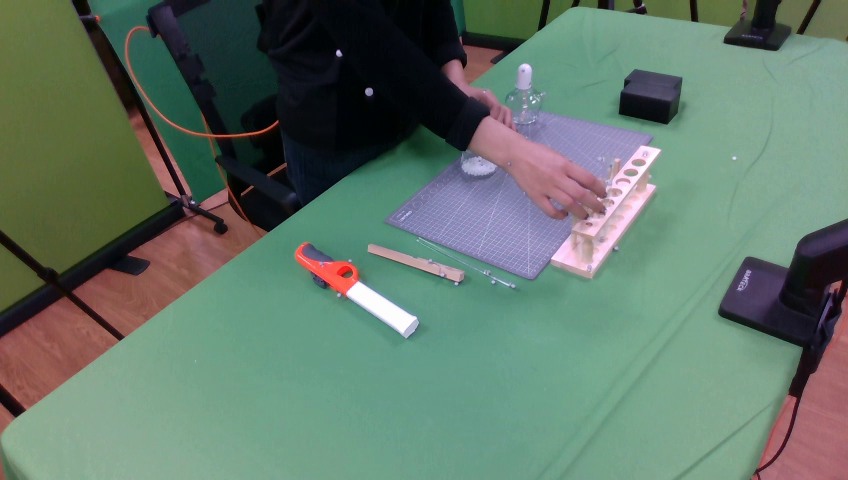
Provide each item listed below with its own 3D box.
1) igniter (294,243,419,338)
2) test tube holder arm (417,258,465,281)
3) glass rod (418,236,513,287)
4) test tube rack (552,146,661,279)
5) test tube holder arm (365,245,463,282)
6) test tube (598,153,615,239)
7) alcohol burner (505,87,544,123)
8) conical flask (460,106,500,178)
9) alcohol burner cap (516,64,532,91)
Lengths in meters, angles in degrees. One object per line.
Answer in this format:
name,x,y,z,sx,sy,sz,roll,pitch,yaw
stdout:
igniter,-0.113,0.070,0.919,0.274,0.025,0.057,29,62,37
test tube holder arm,0.023,0.045,0.931,0.087,0.015,0.010,16,11,29
glass rod,0.060,0.032,0.945,0.198,0.008,0.008,27,52,38
test tube rack,0.287,-0.053,0.943,0.066,0.085,0.243,21,49,32
test tube holder arm,-0.019,0.035,0.947,0.177,0.015,0.013,16,11,27
test tube,0.265,-0.060,0.877,0.017,0.151,0.017,-6,41,5
alcohol burner,0.203,-0.297,1.221,0.078,0.119,0.077,-4,39,4
conical flask,0.098,-0.181,1.097,0.075,0.122,0.075,-6,40,5
alcohol burner cap,0.200,-0.324,1.197,0.034,0.048,0.033,-1,45,1
